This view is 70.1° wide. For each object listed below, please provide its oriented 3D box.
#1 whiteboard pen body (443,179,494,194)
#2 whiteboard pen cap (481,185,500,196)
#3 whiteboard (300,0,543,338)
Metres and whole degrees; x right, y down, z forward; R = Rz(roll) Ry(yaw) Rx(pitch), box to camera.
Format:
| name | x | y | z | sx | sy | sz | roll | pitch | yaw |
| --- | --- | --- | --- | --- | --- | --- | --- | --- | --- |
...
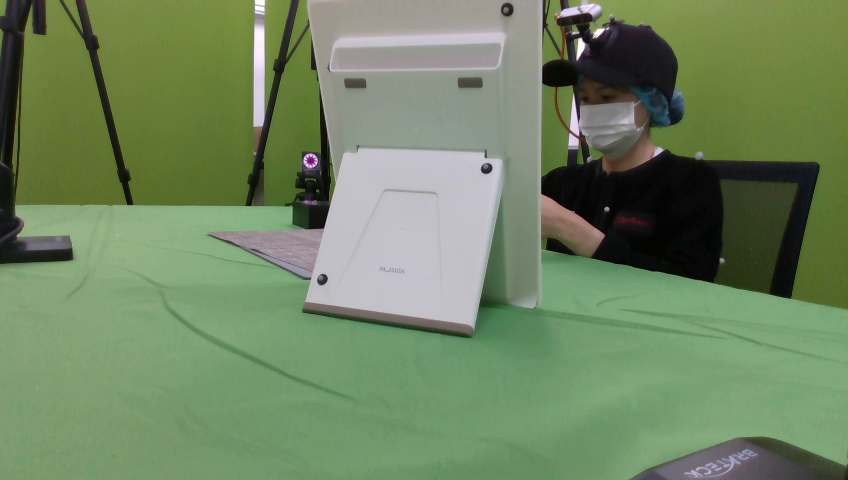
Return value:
| name | x | y | z | sx | sy | sz | roll | pitch | yaw |
| --- | --- | --- | --- | --- | --- | --- | --- | --- | --- |
| whiteboard pen body | 0.078 | -0.093 | 1.061 | 0.017 | 0.017 | 0.140 | -2 | 11 | -32 |
| whiteboard pen cap | 0.111 | -0.083 | 1.010 | 0.018 | 0.018 | 0.033 | -2 | 12 | -32 |
| whiteboard | -0.020 | -0.050 | 0.523 | 0.216 | 0.305 | 0.144 | 6 | 27 | 22 |
